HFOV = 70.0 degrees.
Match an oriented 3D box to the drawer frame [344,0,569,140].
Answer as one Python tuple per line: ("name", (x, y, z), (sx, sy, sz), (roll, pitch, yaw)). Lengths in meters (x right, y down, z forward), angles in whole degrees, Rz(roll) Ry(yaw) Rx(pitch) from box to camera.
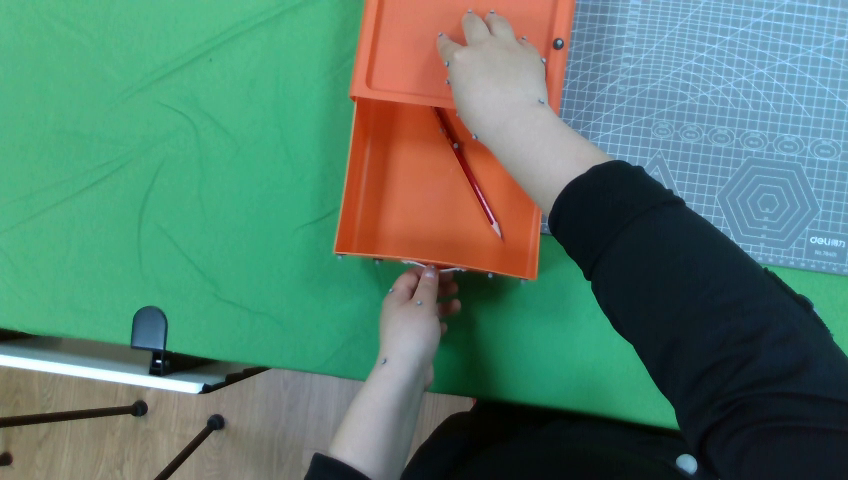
("drawer frame", (0.039, -0.221, 0.600), (0.201, 0.083, 0.213), (7, 89, 8))

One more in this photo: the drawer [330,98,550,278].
("drawer", (0.022, -0.073, 0.598), (0.194, 0.073, 0.211), (6, 87, 7))

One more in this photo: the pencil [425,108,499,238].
("pencil", (0.031, -0.087, 0.624), (0.012, 0.012, 0.193), (-28, 86, 6))
